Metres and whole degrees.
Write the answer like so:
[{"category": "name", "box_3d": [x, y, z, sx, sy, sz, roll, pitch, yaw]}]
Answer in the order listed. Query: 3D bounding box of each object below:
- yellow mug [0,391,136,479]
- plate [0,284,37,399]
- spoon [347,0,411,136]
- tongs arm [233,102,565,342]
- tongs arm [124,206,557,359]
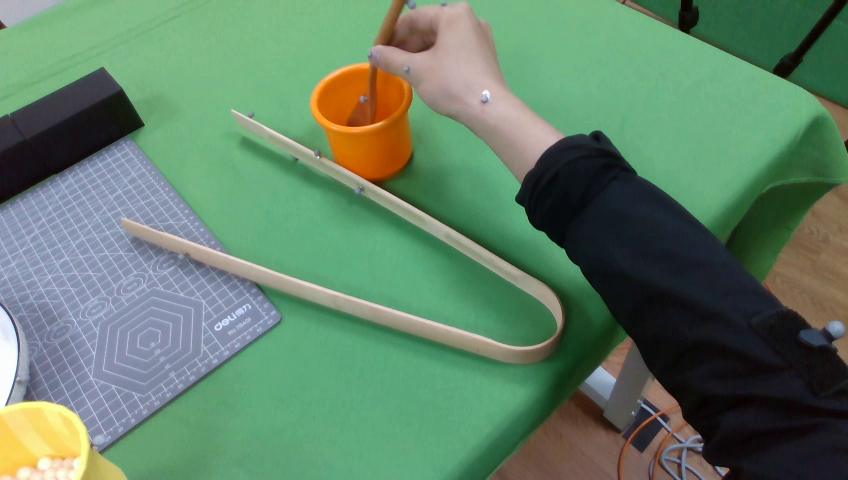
[{"category": "yellow mug", "box_3d": [-0.237, 0.151, 0.333, 0.131, 0.064, 0.099, -29, 47, -25]}, {"category": "plate", "box_3d": [-0.391, 0.120, 0.452, 0.207, 0.039, 0.205, -3, 55, 4]}, {"category": "spoon", "box_3d": [-0.036, -0.157, 0.518, 0.022, 0.194, 0.041, -3, 62, -22]}, {"category": "tongs arm", "box_3d": [-0.043, -0.030, 0.529, 0.382, 0.027, 0.050, 29, 61, 21]}, {"category": "tongs arm", "box_3d": [-0.085, 0.029, 0.493, 0.386, 0.028, 0.028, 16, 54, 15]}]
